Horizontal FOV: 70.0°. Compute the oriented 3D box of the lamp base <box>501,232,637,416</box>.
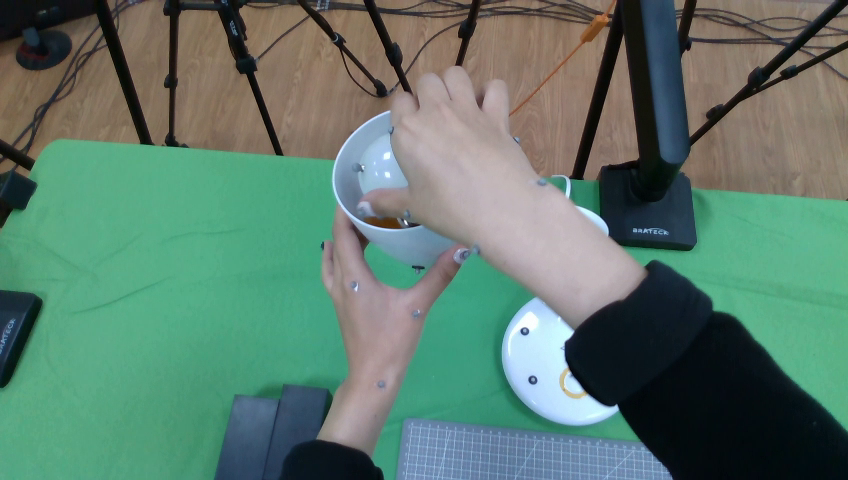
[{"bbox_3d":[0.168,0.083,0.661,0.161,0.182,0.177,-7,60,-2],"label":"lamp base"}]

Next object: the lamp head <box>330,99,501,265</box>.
[{"bbox_3d":[0.001,-0.033,0.482,0.112,0.124,0.111,-8,61,15],"label":"lamp head"}]

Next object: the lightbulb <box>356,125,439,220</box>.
[{"bbox_3d":[-0.013,-0.042,0.455,0.059,0.108,0.059,-5,66,12],"label":"lightbulb"}]
